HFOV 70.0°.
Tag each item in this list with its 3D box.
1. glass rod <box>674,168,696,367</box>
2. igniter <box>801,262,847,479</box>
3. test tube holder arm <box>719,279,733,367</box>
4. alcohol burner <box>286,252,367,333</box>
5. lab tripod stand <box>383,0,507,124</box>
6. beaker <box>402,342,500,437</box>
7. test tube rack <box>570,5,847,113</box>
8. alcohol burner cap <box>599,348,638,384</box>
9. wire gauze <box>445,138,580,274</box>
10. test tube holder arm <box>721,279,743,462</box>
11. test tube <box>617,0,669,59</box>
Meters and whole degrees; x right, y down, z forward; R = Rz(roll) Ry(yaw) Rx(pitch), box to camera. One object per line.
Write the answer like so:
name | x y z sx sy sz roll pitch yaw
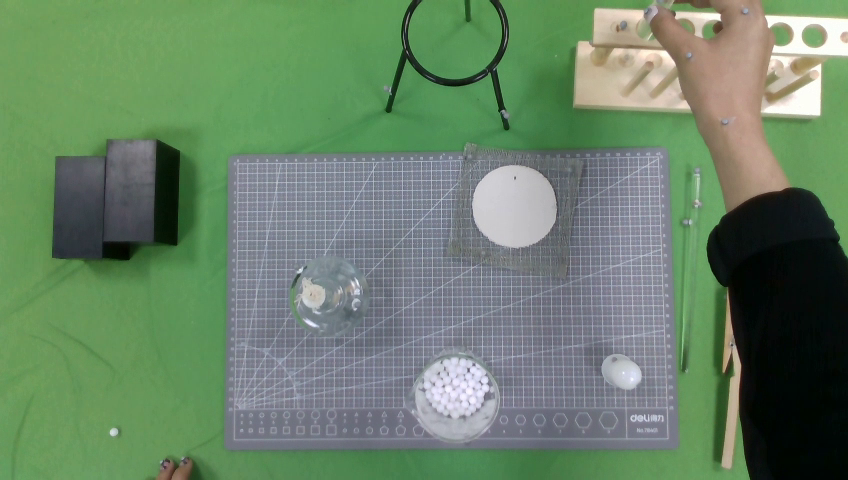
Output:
glass rod | 0.261 0.027 0.606 0.008 0.008 0.199 5 89 2
igniter | 0.395 0.158 0.584 0.057 0.025 0.276 8 87 -7
test tube holder arm | 0.299 0.082 0.598 0.010 0.015 0.087 2 87 37
alcohol burner | -0.094 0.049 0.562 0.078 0.119 0.077 0 85 4
lab tripod stand | 0.023 -0.169 0.565 0.148 0.131 0.148 0 88 3
beaker | 0.026 0.134 0.560 0.084 0.100 0.074 -8 85 3
test tube rack | 0.271 -0.170 0.580 0.242 0.085 0.066 3 86 2
alcohol burner cap | 0.189 0.122 0.584 0.034 0.048 0.034 0 86 2
wire gauze | 0.090 -0.036 0.614 0.125 0.011 0.121 11 88 2
test tube holder arm | 0.301 0.127 0.592 0.013 0.015 0.178 1 86 37
test tube | 0.194 -0.192 0.534 0.017 0.150 0.017 0 87 5
